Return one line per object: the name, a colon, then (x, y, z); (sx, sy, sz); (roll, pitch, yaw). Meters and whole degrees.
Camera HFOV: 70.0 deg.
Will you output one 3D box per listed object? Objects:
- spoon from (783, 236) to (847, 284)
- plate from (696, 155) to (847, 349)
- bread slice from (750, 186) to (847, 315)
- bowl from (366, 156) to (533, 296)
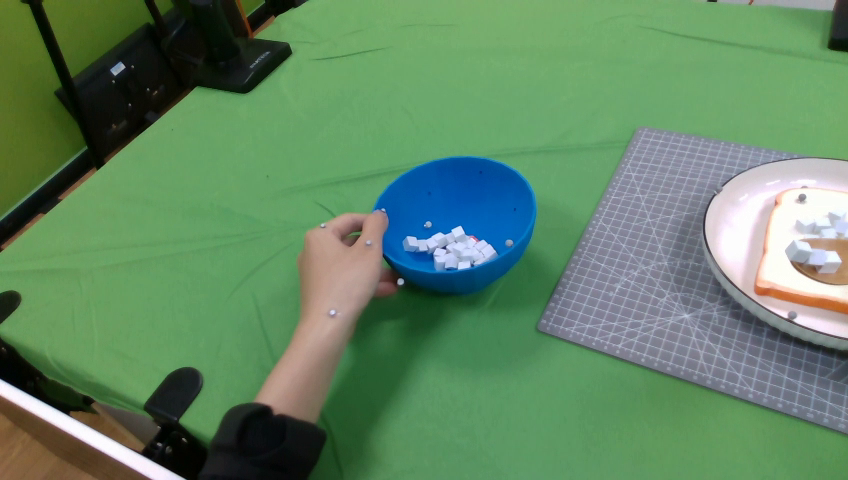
spoon: (0.327, -0.001, 0.371); (0.193, 0.022, 0.041); (-11, 41, 16)
plate: (0.339, 0.008, 0.510); (0.209, 0.038, 0.207); (-7, 46, 7)
bread slice: (0.339, 0.006, 0.516); (0.106, 0.018, 0.133); (10, 52, 22)
bowl: (0.028, -0.001, 0.564); (0.151, 0.077, 0.150); (-7, 46, 7)
